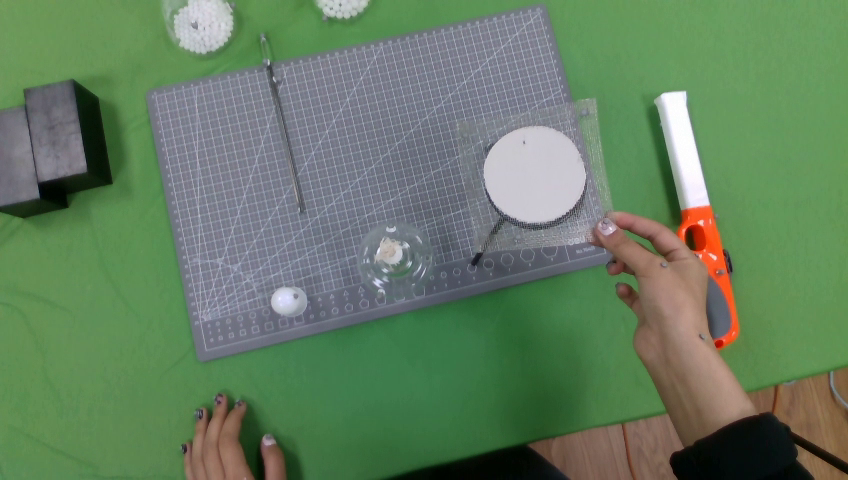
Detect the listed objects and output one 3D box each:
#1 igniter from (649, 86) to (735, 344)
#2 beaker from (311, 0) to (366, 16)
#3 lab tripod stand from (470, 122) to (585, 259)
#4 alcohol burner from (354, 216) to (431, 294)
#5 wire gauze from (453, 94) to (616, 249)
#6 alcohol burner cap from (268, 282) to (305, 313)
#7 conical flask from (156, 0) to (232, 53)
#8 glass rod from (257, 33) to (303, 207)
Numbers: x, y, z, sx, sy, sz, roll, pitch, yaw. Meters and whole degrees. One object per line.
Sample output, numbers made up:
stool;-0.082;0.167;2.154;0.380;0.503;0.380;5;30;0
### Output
igniter;0.285;-0.029;0.644;0.057;0.025;0.275;-8;84;-13
beaker;-0.095;-0.290;0.631;0.074;0.100;0.083;-11;82;-3
lab tripod stand;0.093;-0.046;0.586;0.148;0.131;0.148;0;85;-1
alcohol burner;-0.031;0.013;0.586;0.078;0.119;0.077;0;85;-1
wire gauze;0.093;-0.058;0.517;0.125;0.011;0.121;-8;84;2
alcohol burner cap;-0.141;0.057;0.614;0.034;0.048;0.034;0;83;-2
conical flask;-0.247;-0.248;0.610;0.075;0.122;0.075;0;82;-1
glass rod;-0.156;-0.131;0.652;0.008;0.008;0.199;-14;84;-3
